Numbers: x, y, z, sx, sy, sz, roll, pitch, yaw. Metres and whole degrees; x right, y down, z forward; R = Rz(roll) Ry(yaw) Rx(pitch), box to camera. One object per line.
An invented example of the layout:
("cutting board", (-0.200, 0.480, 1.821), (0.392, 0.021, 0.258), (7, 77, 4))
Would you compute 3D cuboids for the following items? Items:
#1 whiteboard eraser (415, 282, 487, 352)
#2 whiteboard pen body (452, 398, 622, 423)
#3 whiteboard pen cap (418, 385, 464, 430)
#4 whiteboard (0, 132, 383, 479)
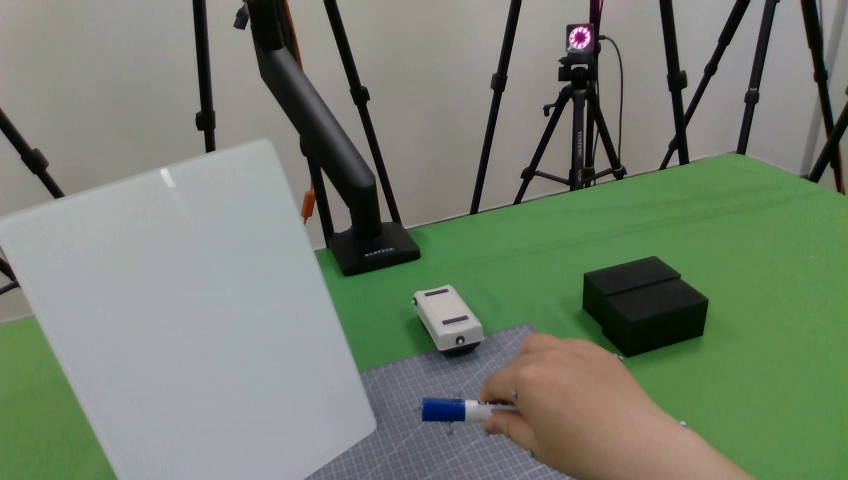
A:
("whiteboard eraser", (0.030, 0.091, 0.723), (0.056, 0.042, 0.111), (-14, 26, -12))
("whiteboard pen body", (0.075, 0.125, 0.445), (0.141, 0.017, 0.017), (2, 29, -2))
("whiteboard pen cap", (0.012, 0.122, 0.439), (0.033, 0.018, 0.018), (-39, 39, -16))
("whiteboard", (-0.205, 0.084, 0.560), (0.217, 0.307, 0.143), (-26, 16, -32))
